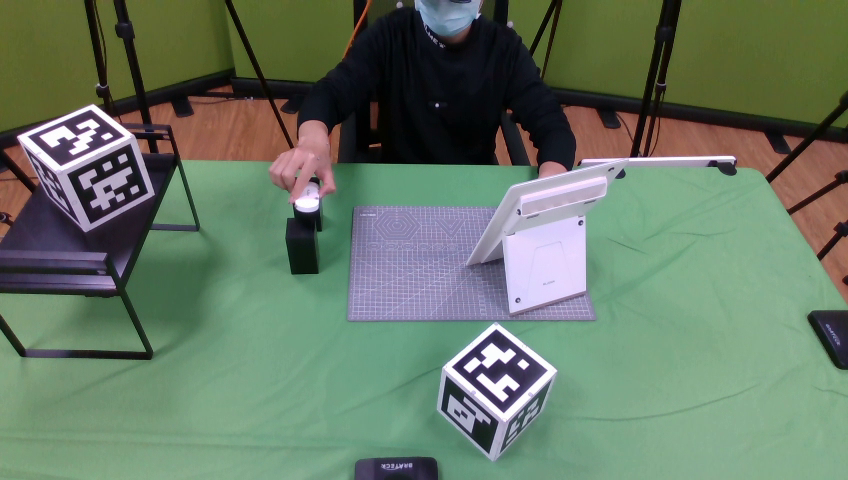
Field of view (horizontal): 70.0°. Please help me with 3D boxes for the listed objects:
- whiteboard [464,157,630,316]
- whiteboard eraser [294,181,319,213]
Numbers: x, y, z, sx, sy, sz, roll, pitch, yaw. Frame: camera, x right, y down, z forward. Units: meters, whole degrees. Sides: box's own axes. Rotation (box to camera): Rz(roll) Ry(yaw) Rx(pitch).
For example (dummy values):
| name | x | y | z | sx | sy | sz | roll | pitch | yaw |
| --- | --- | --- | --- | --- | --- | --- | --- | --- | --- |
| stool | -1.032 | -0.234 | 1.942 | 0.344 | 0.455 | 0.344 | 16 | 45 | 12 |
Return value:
| name | x | y | z | sx | sy | sz | roll | pitch | yaw |
| --- | --- | --- | --- | --- | --- | --- | --- | --- | --- |
| whiteboard | 0.224 | 0.015 | 1.041 | 0.217 | 0.306 | 0.143 | -14 | 68 | -17 |
| whiteboard eraser | -0.213 | -0.080 | 1.105 | 0.041 | 0.019 | 0.100 | 2 | 31 | -9 |
